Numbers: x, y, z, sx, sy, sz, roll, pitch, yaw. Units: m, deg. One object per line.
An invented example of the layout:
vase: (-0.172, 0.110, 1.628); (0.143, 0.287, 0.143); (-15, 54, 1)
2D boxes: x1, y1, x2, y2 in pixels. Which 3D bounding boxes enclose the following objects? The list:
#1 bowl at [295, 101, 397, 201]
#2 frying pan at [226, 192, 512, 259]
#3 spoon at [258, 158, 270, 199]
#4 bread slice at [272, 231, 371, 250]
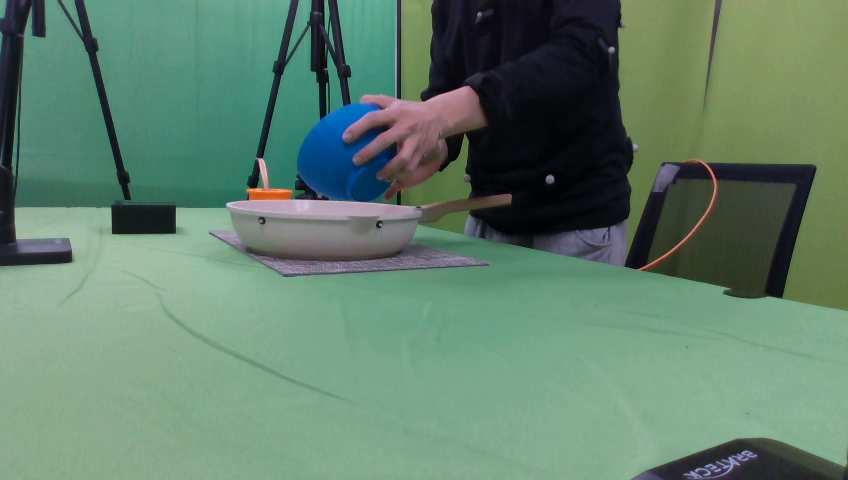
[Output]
bowl: (-0.091, -0.106, 0.833); (0.152, 0.151, 0.076); (-6, 47, -48)
frying pan: (-0.058, -0.041, 0.975); (0.490, 0.102, 0.305); (-11, 13, -26)
spoon: (-0.332, -0.107, 1.269); (0.042, 0.021, 0.193); (1, 52, -24)
bread slice: (-0.148, 0.001, 0.929); (0.133, 0.018, 0.107); (5, 8, 38)
